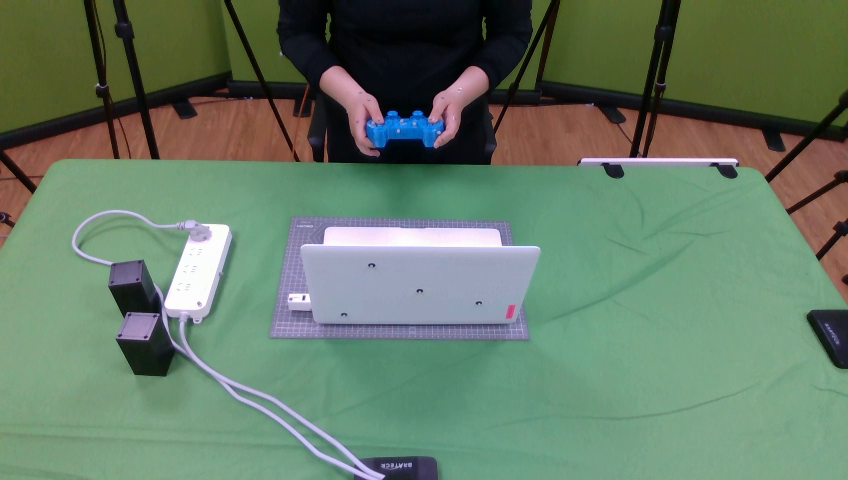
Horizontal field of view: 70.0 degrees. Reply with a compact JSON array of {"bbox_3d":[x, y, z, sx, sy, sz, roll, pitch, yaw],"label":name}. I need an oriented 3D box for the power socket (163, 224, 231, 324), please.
[{"bbox_3d":[-0.410,0.052,1.107,0.072,0.033,0.225,3,46,-3],"label":"power socket"}]

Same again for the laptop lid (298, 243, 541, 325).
[{"bbox_3d":[-0.010,0.076,0.958,0.357,0.243,0.013,1,53,-5],"label":"laptop lid"}]

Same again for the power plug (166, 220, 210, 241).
[{"bbox_3d":[-0.440,-0.016,1.143,0.072,0.053,0.035,7,46,8],"label":"power plug"}]

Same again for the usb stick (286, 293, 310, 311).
[{"bbox_3d":[-0.210,0.109,1.059,0.059,0.027,0.021,4,44,-6],"label":"usb stick"}]

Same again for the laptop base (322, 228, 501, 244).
[{"bbox_3d":[-0.020,0.063,1.136,0.355,0.023,0.234,0,43,-4],"label":"laptop base"}]

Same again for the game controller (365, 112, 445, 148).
[{"bbox_3d":[-0.038,-0.213,1.148,0.155,0.052,0.096,-1,35,0],"label":"game controller"}]
